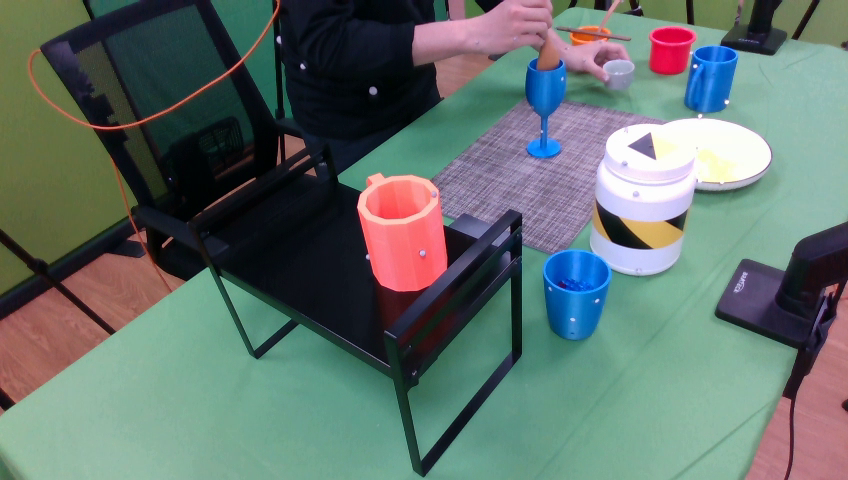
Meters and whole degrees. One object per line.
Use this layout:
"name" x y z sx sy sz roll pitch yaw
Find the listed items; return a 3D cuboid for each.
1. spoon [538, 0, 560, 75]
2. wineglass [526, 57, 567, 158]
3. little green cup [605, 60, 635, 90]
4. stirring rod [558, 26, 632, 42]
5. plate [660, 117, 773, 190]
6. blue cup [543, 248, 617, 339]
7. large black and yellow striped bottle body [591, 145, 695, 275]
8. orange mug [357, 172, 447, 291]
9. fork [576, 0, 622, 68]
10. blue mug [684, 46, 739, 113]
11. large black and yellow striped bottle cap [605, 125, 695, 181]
"spoon" 0.195 -0.349 0.980 0.041 0.195 0.021 -18 44 2
"wineglass" 0.222 -0.241 1.102 0.074 0.173 0.073 -5 41 4
"little green cup" 0.400 -0.337 1.240 0.061 0.039 0.061 -5 41 5
"stirring rod" 0.381 -0.462 1.356 0.175 0.006 0.014 22 48 30
"plate" 0.495 -0.149 1.063 0.209 0.038 0.208 -5 40 4
"blue cup" 0.199 0.076 0.797 0.092 0.100 0.092 -4 39 4
"large black and yellow striped bottle body" 0.313 -0.056 0.870 0.131 0.185 0.130 -4 40 4
"orange mug" -0.030 -0.018 0.669 0.084 0.101 0.125 -23 46 -16
"fork" 0.409 -0.484 1.381 0.028 0.019 0.207 37 101 46
"blue mug" 0.556 -0.310 1.190 0.117 0.106 0.081 -32 46 -25
"large black and yellow striped bottle cap" 0.304 -0.120 0.817 0.115 0.019 0.114 -3 41 3
